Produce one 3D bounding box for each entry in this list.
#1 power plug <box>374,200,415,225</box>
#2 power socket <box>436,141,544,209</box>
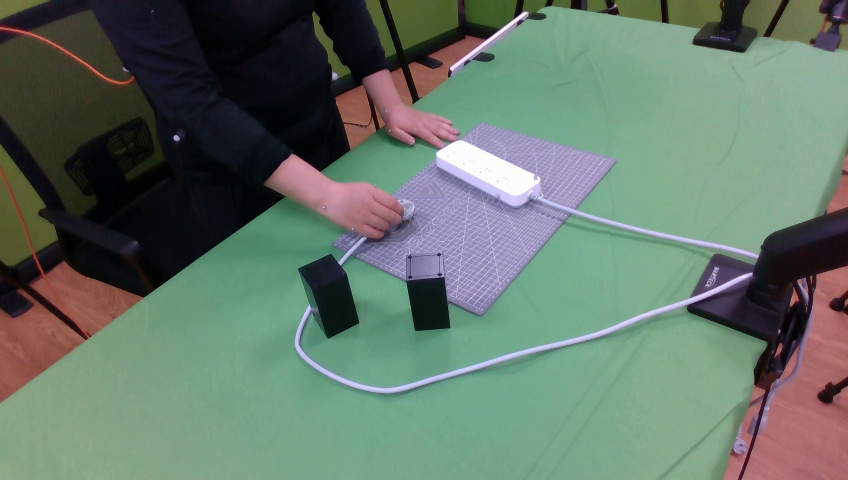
[{"bbox_3d":[-0.049,-0.041,1.007,0.072,0.053,0.035,-29,49,-2],"label":"power plug"},{"bbox_3d":[0.112,-0.120,1.083,0.072,0.033,0.224,-34,47,-27],"label":"power socket"}]
